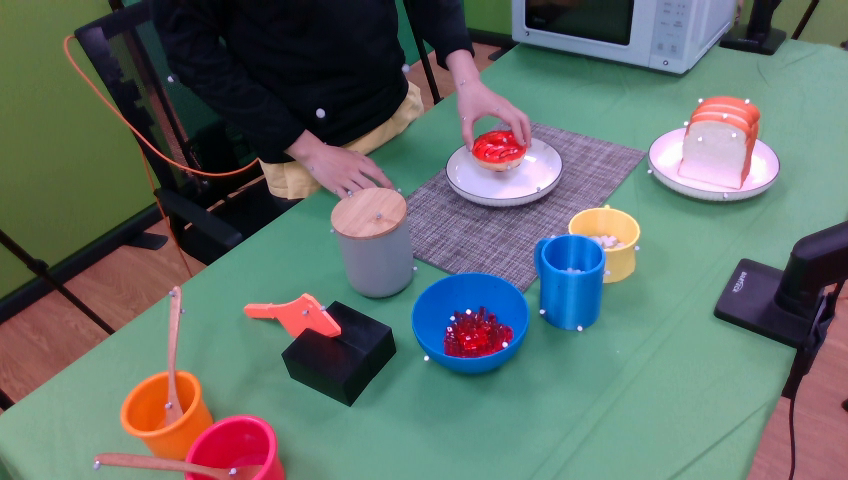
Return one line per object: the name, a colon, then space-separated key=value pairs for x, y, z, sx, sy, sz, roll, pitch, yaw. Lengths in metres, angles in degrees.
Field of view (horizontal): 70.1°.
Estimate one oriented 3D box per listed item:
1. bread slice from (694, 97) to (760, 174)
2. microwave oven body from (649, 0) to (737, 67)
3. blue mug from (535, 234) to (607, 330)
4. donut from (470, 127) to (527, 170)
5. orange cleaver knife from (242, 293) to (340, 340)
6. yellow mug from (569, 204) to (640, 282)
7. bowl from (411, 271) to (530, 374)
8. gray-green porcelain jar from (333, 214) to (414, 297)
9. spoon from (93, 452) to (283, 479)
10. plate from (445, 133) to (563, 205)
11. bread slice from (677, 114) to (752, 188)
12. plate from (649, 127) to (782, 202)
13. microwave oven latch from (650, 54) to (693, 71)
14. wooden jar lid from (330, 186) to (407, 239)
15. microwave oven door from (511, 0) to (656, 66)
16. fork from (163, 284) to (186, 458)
bread slice: x=0.497 y=-0.173 z=1.004 sx=0.106 sy=0.135 sz=0.018 roll=23 pitch=51 yaw=26
microwave oven body: x=0.475 y=-0.602 z=1.411 sx=0.438 sy=0.261 sz=0.327 roll=23 pitch=50 yaw=32
blue mug: x=0.191 y=0.048 z=0.824 sx=0.082 sy=0.106 sz=0.115 roll=-26 pitch=44 yaw=-20
donut: x=0.129 y=-0.161 z=1.052 sx=0.099 sy=0.048 sz=0.098 roll=-1 pitch=40 yaw=1
orange cleaver knife: x=-0.186 y=0.107 z=0.827 sx=0.210 sy=0.077 sz=0.012 roll=-9 pitch=29 yaw=48
yellow mug: x=0.268 y=-0.005 z=0.904 sx=0.099 sy=0.064 sz=0.130 roll=7 pitch=41 yaw=15
bowl: x=0.061 y=0.120 z=0.780 sx=0.151 sy=0.077 sz=0.150 roll=-4 pitch=40 yaw=4
gray-green porcelain jar: x=-0.071 y=0.012 z=0.887 sx=0.106 sy=0.127 sz=0.105 roll=-4 pitch=41 yaw=4
spoon: x=-0.240 y=0.239 z=0.632 sx=0.195 sy=0.021 sz=0.041 roll=26 pitch=34 yaw=-32
plate: x=0.142 y=-0.123 z=1.076 sx=0.209 sy=0.038 sz=0.208 roll=-4 pitch=41 yaw=4
bread slice: x=0.467 y=-0.144 z=0.976 sx=0.104 sy=0.132 sz=0.019 roll=18 pitch=55 yaw=30
plate: x=0.493 y=-0.127 z=1.036 sx=0.207 sy=0.039 sz=0.206 roll=-4 pitch=41 yaw=4
microwave oven latch: x=0.531 y=-0.386 z=1.301 sx=0.078 sy=0.029 sz=0.030 roll=26 pitch=51 yaw=33
wooden jar lid: x=-0.077 y=-0.035 z=0.847 sx=0.108 sy=0.021 sz=0.108 roll=-5 pitch=42 yaw=5
microwave oven door: x=0.350 y=-0.539 z=1.349 sx=0.353 sy=0.245 sz=0.039 roll=24 pitch=50 yaw=31
fork: x=-0.302 y=0.157 z=0.733 sx=0.028 sy=0.019 sz=0.207 roll=-3 pitch=84 yaw=15
